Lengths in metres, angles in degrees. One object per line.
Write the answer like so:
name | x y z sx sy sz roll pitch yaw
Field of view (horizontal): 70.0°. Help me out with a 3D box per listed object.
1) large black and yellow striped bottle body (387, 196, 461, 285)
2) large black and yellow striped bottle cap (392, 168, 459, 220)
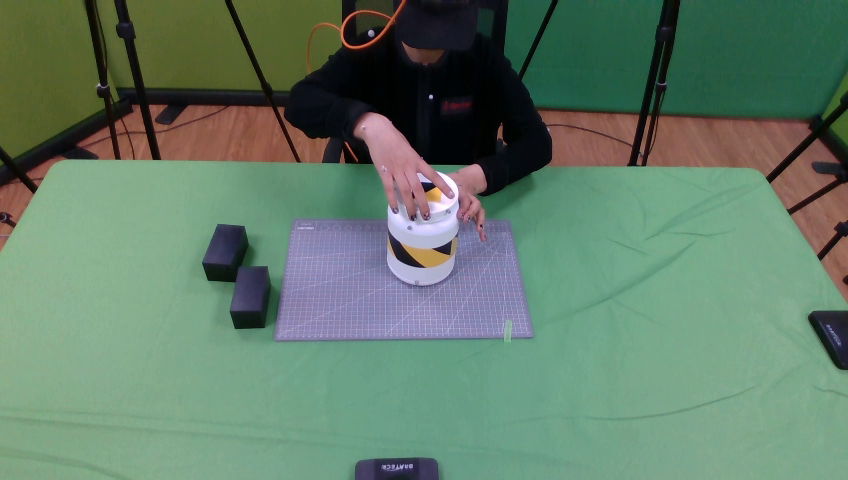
large black and yellow striped bottle body | -0.002 -0.021 1.101 0.131 0.185 0.130 2 46 -2
large black and yellow striped bottle cap | 0.003 -0.081 1.041 0.115 0.019 0.114 2 48 -2
